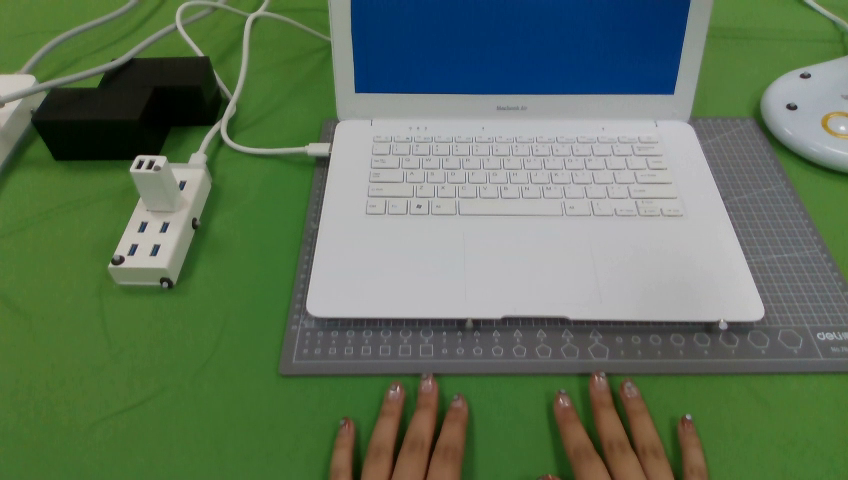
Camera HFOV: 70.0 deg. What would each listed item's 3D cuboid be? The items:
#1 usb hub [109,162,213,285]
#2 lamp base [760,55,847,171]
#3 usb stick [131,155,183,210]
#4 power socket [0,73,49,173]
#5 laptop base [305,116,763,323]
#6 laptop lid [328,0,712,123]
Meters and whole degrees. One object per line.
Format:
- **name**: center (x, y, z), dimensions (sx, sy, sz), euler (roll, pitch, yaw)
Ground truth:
- **usb hub**: center (-0.224, -0.018, 0.525), dimensions (0.049, 0.025, 0.124), euler (1, 49, 2)
- **lamp base**: center (0.432, -0.182, 0.566), dimensions (0.159, 0.182, 0.178), euler (24, 51, 20)
- **usb stick**: center (-0.221, -0.043, 0.508), dimensions (0.027, 0.060, 0.021), euler (-1, 49, 2)
- **power socket**: center (-0.438, -0.089, 0.580), dimensions (0.072, 0.033, 0.224), euler (1, 49, 0)
- **laptop base**: center (0.086, -0.025, 0.536), dimensions (0.354, 0.023, 0.233), euler (1, 53, 0)
- **laptop lid**: center (0.088, -0.218, 0.556), dimensions (0.357, 0.243, 0.013), euler (-1, 28, 1)
